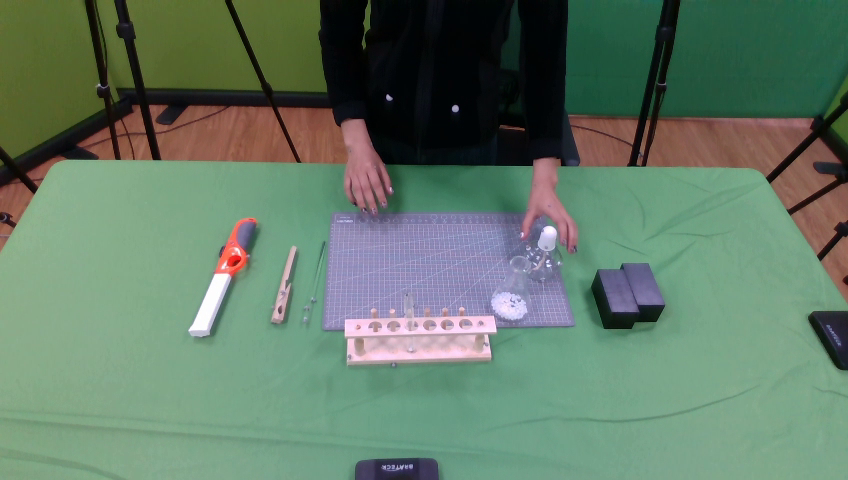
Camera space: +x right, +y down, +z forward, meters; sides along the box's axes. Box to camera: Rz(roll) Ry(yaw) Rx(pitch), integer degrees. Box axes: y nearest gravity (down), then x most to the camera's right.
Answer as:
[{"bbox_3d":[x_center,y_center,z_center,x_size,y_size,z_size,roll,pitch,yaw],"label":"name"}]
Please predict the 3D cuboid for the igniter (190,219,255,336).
[{"bbox_3d":[-0.365,0.058,1.110,0.057,0.025,0.275,-1,45,8],"label":"igniter"}]

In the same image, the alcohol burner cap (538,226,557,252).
[{"bbox_3d":[0.226,-0.004,1.104,0.034,0.048,0.033,-1,50,1],"label":"alcohol burner cap"}]

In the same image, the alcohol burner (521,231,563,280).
[{"bbox_3d":[0.224,0.020,1.131,0.078,0.119,0.077,4,46,-4],"label":"alcohol burner"}]

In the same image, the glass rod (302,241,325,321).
[{"bbox_3d":[-0.204,0.071,1.124,0.008,0.008,0.198,4,43,0],"label":"glass rod"}]

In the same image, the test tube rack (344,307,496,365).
[{"bbox_3d":[-0.009,0.154,1.007,0.242,0.085,0.066,-1,46,-5],"label":"test tube rack"}]

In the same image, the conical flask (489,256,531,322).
[{"bbox_3d":[0.158,0.081,1.061,0.075,0.122,0.075,2,46,-2],"label":"conical flask"}]

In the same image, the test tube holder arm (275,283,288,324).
[{"bbox_3d":[-0.254,0.110,1.077,0.010,0.015,0.087,29,38,-27],"label":"test tube holder arm"}]

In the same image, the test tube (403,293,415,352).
[{"bbox_3d":[-0.024,0.133,0.957,0.017,0.151,0.017,0,48,0],"label":"test tube"}]

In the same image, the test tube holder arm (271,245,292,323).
[{"bbox_3d":[-0.259,0.076,1.106,0.013,0.015,0.177,28,39,-28],"label":"test tube holder arm"}]
